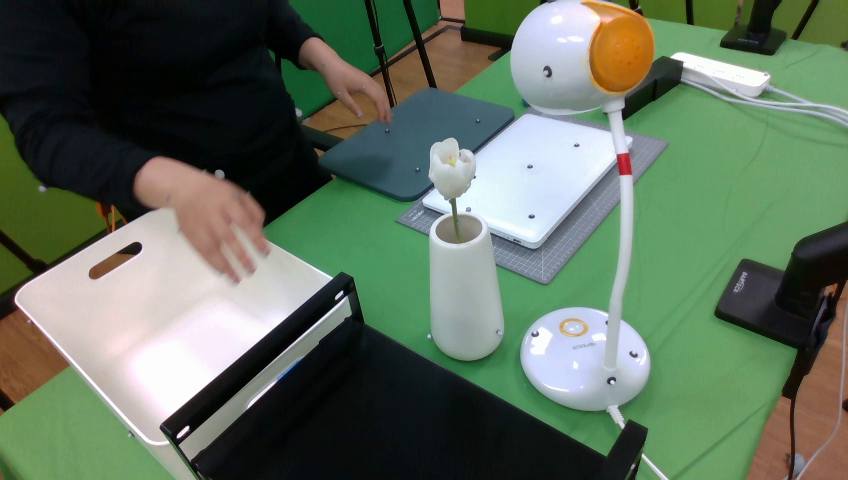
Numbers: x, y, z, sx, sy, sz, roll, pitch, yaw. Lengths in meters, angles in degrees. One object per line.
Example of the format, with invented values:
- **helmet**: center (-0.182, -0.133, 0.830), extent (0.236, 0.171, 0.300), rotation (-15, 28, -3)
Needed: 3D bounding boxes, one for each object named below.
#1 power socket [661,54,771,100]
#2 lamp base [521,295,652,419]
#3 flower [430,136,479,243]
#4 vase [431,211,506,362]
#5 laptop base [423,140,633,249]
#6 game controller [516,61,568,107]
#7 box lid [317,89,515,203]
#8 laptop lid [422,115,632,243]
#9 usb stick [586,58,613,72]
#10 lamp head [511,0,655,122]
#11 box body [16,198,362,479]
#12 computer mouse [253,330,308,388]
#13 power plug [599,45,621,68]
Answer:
- **power socket**: center (0.615, -0.348, 1.285), extent (0.072, 0.033, 0.225), rotation (-36, 48, -28)
- **lamp base**: center (0.201, 0.095, 0.710), extent (0.161, 0.181, 0.177), rotation (-16, 43, -10)
- **flower**: center (0.041, 0.011, 0.691), extent (0.044, 0.363, 0.038), rotation (16, 62, 14)
- **vase**: center (0.054, 0.062, 0.757), extent (0.098, 0.201, 0.097), rotation (-3, 40, 3)
- **laptop base**: center (0.194, -0.117, 1.087), extent (0.233, 0.023, 0.355), rotation (20, 47, 34)
- **game controller**: center (0.259, -0.352, 1.336), extent (0.097, 0.052, 0.154), rotation (-3, 41, 2)
- **box lid**: center (-0.009, -0.207, 1.236), extent (0.261, 0.015, 0.372), rotation (23, 49, 32)
- **laptop lid**: center (0.190, -0.126, 1.081), extent (0.239, 0.013, 0.358), rotation (23, 48, 34)
- **usb stick**: center (0.401, -0.399, 1.380), extent (0.059, 0.027, 0.021), rotation (1, 48, 20)
- **lamp head**: center (0.155, -0.168, 0.563), extent (0.113, 0.113, 0.122), rotation (-18, 23, -12)
- **box body**: center (-0.285, 0.123, 0.766), extent (0.361, 0.161, 0.255), rotation (25, 49, 33)
- **computer mouse**: center (-0.168, 0.161, 0.790), extent (0.116, 0.041, 0.063), rotation (30, 50, 29)
- **power plug**: center (0.437, -0.422, 1.412), extent (0.053, 0.035, 0.072), rotation (-18, 74, -46)
